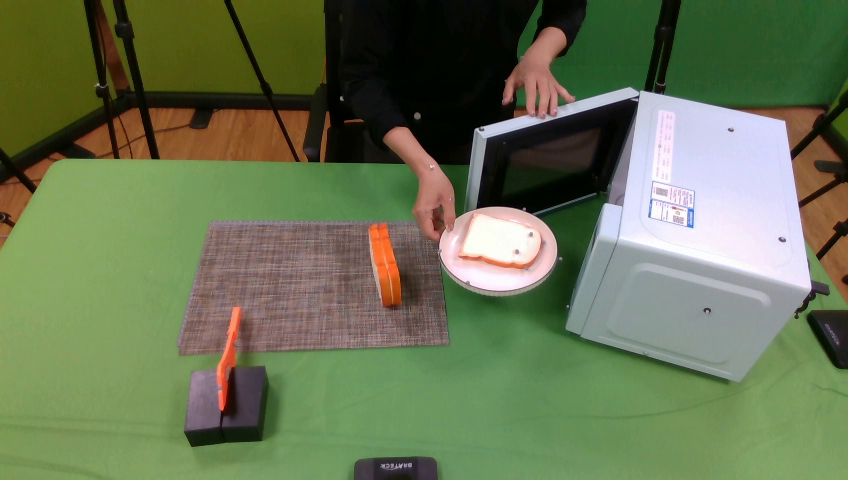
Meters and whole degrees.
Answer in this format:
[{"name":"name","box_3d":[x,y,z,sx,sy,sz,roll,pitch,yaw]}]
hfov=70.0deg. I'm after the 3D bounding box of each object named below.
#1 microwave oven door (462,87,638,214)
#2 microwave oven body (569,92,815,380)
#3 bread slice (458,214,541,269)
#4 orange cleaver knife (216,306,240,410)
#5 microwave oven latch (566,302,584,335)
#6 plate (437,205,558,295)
[{"name":"microwave oven door","box_3d":[0.245,-0.155,1.188,0.356,0.245,0.039,-18,50,-20]},{"name":"microwave oven body","box_3d":[0.468,-0.021,1.082,0.325,0.261,0.440,15,46,11]},{"name":"bread slice","box_3d":[0.137,0.004,1.066,0.134,0.018,0.106,9,49,13]},{"name":"orange cleaver knife","box_3d":[-0.307,0.180,0.957,0.012,0.077,0.210,-2,25,-8]},{"name":"microwave oven latch","box_3d":[0.268,0.126,1.059,0.030,0.029,0.079,16,46,12]},{"name":"plate","box_3d":[0.126,0.020,1.053,0.208,0.039,0.206,-2,45,3]}]
